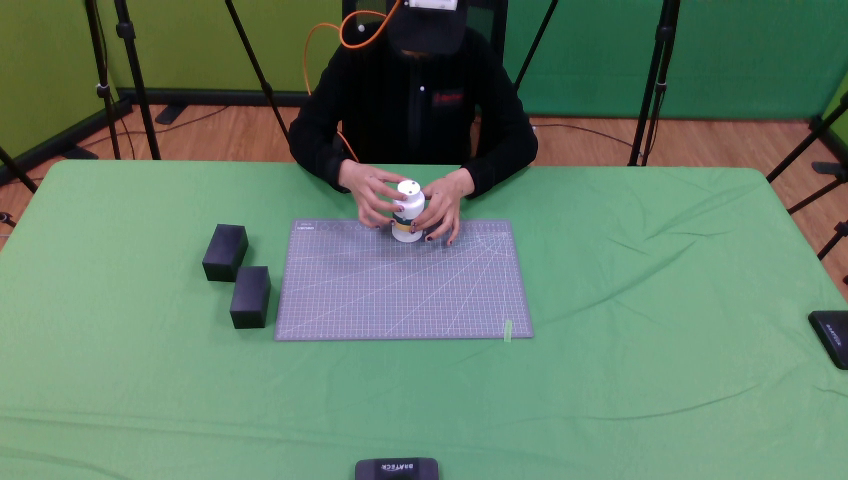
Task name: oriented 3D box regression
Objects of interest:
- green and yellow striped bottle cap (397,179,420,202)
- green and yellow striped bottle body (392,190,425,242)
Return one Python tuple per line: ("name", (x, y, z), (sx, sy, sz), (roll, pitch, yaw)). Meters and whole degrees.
("green and yellow striped bottle cap", (-0.029, -0.094, 1.140), (0.045, 0.020, 0.045), (3, 46, -3))
("green and yellow striped bottle body", (-0.030, -0.058, 1.178), (0.063, 0.120, 0.063), (2, 46, -2))
